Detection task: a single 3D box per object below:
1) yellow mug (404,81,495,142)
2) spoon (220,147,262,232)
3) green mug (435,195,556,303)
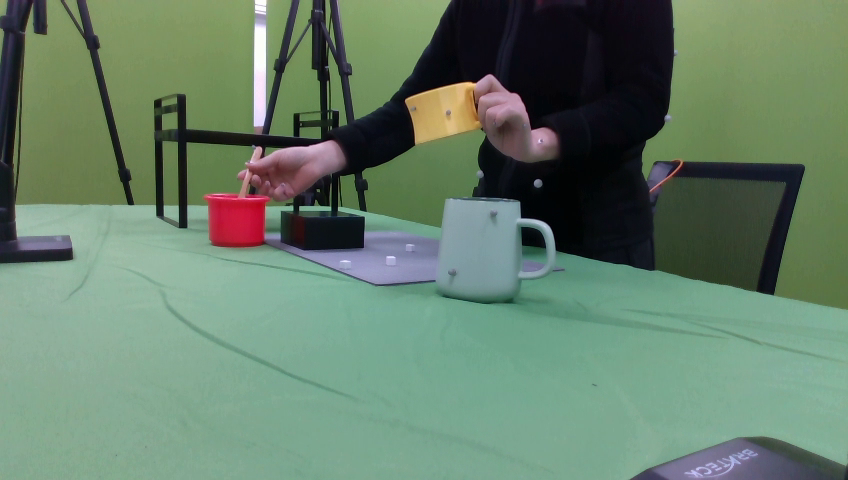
[{"bbox_3d":[0.040,-0.183,0.847,0.130,0.064,0.100,-8,11,34],"label":"yellow mug"},{"bbox_3d":[-0.287,-0.086,0.978,0.041,0.193,0.021,5,-36,1],"label":"spoon"},{"bbox_3d":[0.074,0.009,0.624,0.125,0.105,0.093,5,7,23],"label":"green mug"}]
